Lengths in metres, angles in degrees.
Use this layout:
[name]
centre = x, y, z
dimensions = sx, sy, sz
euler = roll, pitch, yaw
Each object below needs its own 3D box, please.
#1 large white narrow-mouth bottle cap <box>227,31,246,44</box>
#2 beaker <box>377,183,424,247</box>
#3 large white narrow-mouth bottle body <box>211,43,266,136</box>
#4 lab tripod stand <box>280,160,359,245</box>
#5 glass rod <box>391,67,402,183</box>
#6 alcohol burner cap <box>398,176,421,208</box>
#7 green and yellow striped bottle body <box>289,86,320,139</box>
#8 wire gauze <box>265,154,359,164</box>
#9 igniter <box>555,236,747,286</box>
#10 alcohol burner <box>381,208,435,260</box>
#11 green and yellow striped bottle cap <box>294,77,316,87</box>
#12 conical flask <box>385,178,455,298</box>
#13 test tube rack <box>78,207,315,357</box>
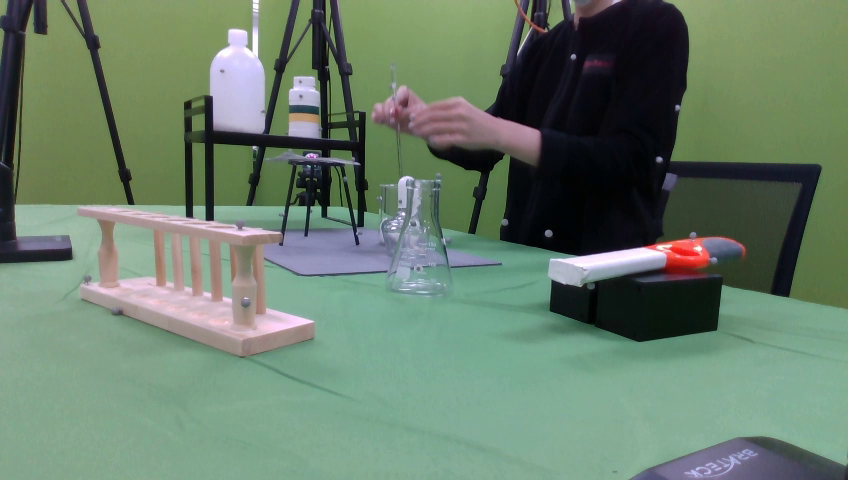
[large white narrow-mouth bottle cap]
centre = -0.361, -0.388, 1.166
dimensions = 0.038, 0.024, 0.037
euler = 1, 7, 0
[beaker]
centre = -0.037, -0.041, 0.995
dimensions = 0.074, 0.100, 0.083
euler = -5, 12, -44
[large white narrow-mouth bottle body]
centre = -0.361, -0.302, 1.176
dimensions = 0.102, 0.194, 0.102
euler = 1, 7, 0
[lab tripod stand]
centre = -0.176, -0.062, 0.973
dimensions = 0.148, 0.131, 0.148
euler = 1, 7, 0
[glass rod]
centre = -0.045, -0.179, 0.986
dimensions = 0.008, 0.199, 0.008
euler = -3, 13, 1
[alcohol burner cap]
centre = -0.023, -0.068, 0.866
dimensions = 0.034, 0.048, 0.034
euler = -5, 8, 1
[green and yellow striped bottle body]
centre = -0.249, -0.272, 1.259
dimensions = 0.063, 0.119, 0.063
euler = 2, 8, 0
[wire gauze]
centre = -0.181, -0.129, 0.969
dimensions = 0.126, 0.011, 0.121
euler = -1, 6, -27
[igniter]
centre = 0.221, 0.017, 0.558
dimensions = 0.278, 0.025, 0.057
euler = -5, 15, -39
[alcohol burner]
centre = -0.023, -0.032, 0.871
dimensions = 0.078, 0.119, 0.078
euler = 0, 6, 0
[green and yellow striped bottle cap]
centre = -0.247, -0.326, 1.251
dimensions = 0.045, 0.020, 0.045
euler = 0, 10, 0
[conical flask]
centre = -0.002, -0.004, 0.639
dimensions = 0.075, 0.122, 0.075
euler = 2, 7, 0
[test tube rack]
centre = -0.196, 0.023, 0.500
dimensions = 0.241, 0.085, 0.067
euler = 8, 8, 37
